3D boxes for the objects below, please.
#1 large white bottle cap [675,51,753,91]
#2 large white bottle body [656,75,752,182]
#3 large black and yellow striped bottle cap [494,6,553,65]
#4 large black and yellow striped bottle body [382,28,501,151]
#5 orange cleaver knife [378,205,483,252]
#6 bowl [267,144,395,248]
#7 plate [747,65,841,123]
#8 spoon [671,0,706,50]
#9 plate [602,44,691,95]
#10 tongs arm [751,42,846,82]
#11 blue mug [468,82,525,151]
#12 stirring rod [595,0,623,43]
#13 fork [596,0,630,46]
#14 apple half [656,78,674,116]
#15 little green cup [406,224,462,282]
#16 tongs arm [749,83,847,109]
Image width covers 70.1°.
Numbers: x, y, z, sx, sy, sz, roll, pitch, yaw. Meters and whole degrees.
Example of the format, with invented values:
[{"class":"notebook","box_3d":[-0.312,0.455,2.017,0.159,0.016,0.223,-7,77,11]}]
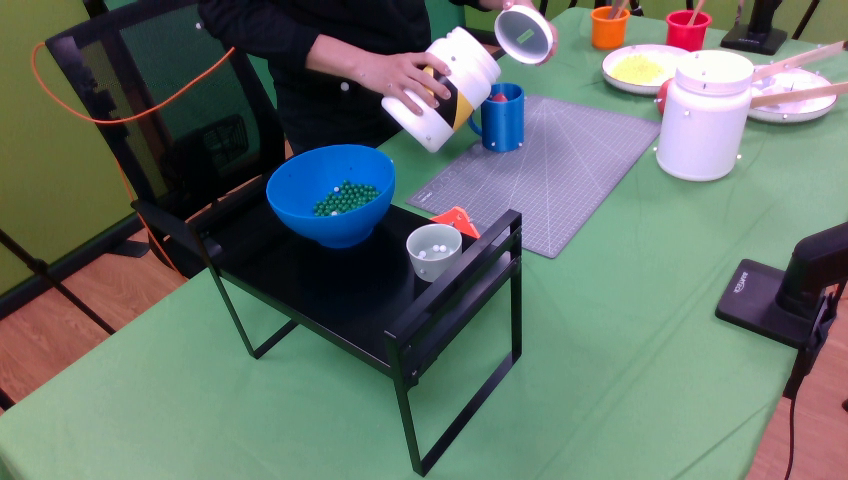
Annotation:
[{"class":"large white bottle cap","box_3d":[0.463,-0.271,0.967,0.115,0.018,0.114,-4,40,3]},{"class":"large white bottle body","box_3d":[0.472,-0.207,1.022,0.130,0.185,0.130,-4,41,4]},{"class":"large black and yellow striped bottle cap","box_3d":[0.183,-0.375,1.113,0.114,0.116,0.019,23,63,31]},{"class":"large black and yellow striped bottle body","box_3d":[0.032,-0.261,1.047,0.184,0.132,0.129,-46,44,7]},{"class":"orange cleaver knife","box_3d":[0.005,-0.010,0.944,0.210,0.077,0.012,-5,23,47]},{"class":"bowl","box_3d":[-0.104,-0.043,0.726,0.151,0.077,0.150,-4,40,4]},{"class":"plate","box_3d":[0.695,-0.282,1.189,0.207,0.039,0.206,-4,40,4]},{"class":"spoon","box_3d":[0.628,-0.520,1.394,0.041,0.022,0.193,30,96,34]},{"class":"plate","box_3d":[0.495,-0.367,1.317,0.209,0.038,0.208,-4,40,4]},{"class":"tongs arm","box_3d":[0.708,-0.331,1.193,0.386,0.026,0.050,-18,45,-16]},{"class":"blue mug","box_3d":[0.138,-0.241,1.169,0.116,0.106,0.082,10,44,21]},{"class":"stirring rod","box_3d":[0.460,-0.556,1.459,0.014,0.006,0.176,30,93,23]},{"class":"fork","box_3d":[0.481,-0.556,1.452,0.028,0.019,0.207,40,103,40]},{"class":"apple half","box_3d":[0.488,-0.281,1.192,0.053,0.075,0.081,24,54,37]},{"class":"little green cup","box_3d":[0.013,0.015,0.668,0.061,0.039,0.061,-4,40,4]},{"class":"tongs arm","box_3d":[0.734,-0.280,1.133,0.388,0.028,0.028,-9,47,-5]}]
